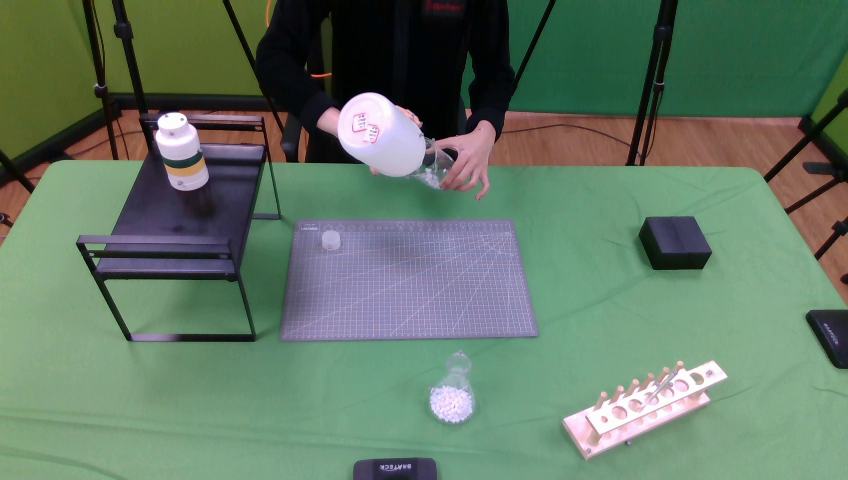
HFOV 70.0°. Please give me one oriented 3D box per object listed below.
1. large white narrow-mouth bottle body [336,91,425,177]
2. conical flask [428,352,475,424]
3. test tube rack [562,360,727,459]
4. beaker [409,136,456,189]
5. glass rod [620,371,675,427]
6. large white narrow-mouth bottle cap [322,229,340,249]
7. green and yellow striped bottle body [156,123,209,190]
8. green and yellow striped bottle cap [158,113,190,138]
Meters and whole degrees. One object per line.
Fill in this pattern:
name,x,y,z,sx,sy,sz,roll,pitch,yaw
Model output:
large white narrow-mouth bottle body,-0.055,-0.158,0.983,0.101,0.195,0.101,-6,75,23
conical flask,0.046,0.220,0.920,0.075,0.122,0.075,2,46,-2
test tube rack,0.341,0.247,0.940,0.243,0.085,0.066,-16,49,-18
beaker,0.012,-0.138,1.111,0.083,0.101,0.074,41,99,28
glass rod,0.316,0.230,0.863,0.008,0.200,0.008,3,54,-3
large white narrow-mouth bottle cap,-0.182,-0.003,1.184,0.038,0.024,0.037,3,45,-3
green and yellow striped bottle body,-0.395,-0.145,0.989,0.063,0.120,0.063,2,46,-2
green and yellow striped bottle cap,-0.393,-0.180,0.951,0.045,0.020,0.045,2,44,-2
